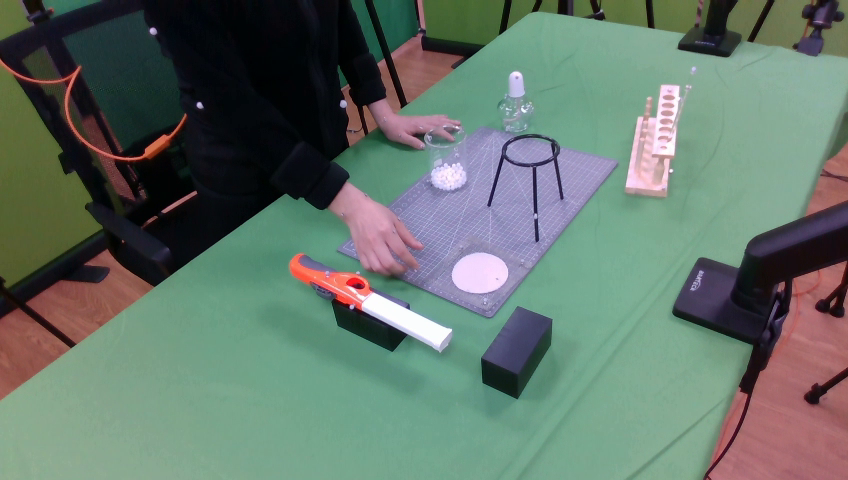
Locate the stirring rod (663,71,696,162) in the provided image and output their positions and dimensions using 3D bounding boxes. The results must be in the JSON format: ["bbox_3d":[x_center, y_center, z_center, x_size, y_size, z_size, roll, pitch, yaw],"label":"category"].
[{"bbox_3d":[0.410,-0.195,0.981,0.014,0.177,0.006,11,50,13],"label":"stirring rod"}]

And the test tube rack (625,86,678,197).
[{"bbox_3d":[0.412,-0.184,1.088,0.066,0.085,0.242,9,43,18],"label":"test tube rack"}]

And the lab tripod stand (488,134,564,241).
[{"bbox_3d":[0.168,-0.092,0.972,0.148,0.132,0.147,-5,41,5],"label":"lab tripod stand"}]

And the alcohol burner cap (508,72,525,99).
[{"bbox_3d":[0.181,-0.306,1.186,0.034,0.048,0.033,-7,39,6],"label":"alcohol burner cap"}]

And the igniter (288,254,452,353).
[{"bbox_3d":[-0.083,0.079,0.818,0.274,0.025,0.057,23,46,27],"label":"igniter"}]

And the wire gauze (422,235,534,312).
[{"bbox_3d":[0.082,0.049,0.914,0.120,0.011,0.125,26,52,32],"label":"wire gauze"}]

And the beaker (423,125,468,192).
[{"bbox_3d":[0.042,-0.144,1.078,0.073,0.100,0.084,28,51,34],"label":"beaker"}]

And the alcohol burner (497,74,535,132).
[{"bbox_3d":[0.184,-0.278,1.210,0.078,0.119,0.077,-3,42,3],"label":"alcohol burner"}]
